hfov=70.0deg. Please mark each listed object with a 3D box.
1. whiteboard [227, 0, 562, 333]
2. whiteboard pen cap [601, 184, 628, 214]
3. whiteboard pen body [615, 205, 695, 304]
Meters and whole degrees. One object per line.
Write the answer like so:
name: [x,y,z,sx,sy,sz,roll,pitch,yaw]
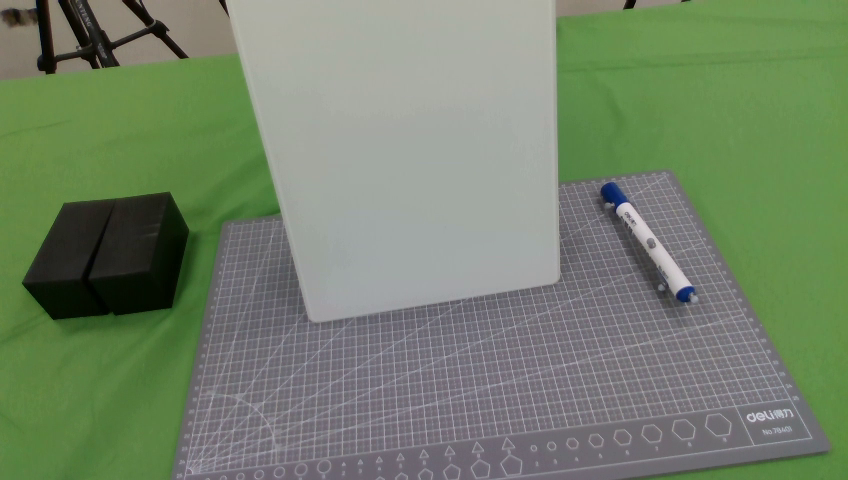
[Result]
whiteboard: [-0.013,-0.104,0.500,0.217,0.308,0.142,-8,27,-2]
whiteboard pen cap: [0.180,-0.036,0.572,0.018,0.018,0.033,-11,45,-6]
whiteboard pen body: [0.194,0.002,0.530,0.017,0.017,0.139,-12,44,-6]
